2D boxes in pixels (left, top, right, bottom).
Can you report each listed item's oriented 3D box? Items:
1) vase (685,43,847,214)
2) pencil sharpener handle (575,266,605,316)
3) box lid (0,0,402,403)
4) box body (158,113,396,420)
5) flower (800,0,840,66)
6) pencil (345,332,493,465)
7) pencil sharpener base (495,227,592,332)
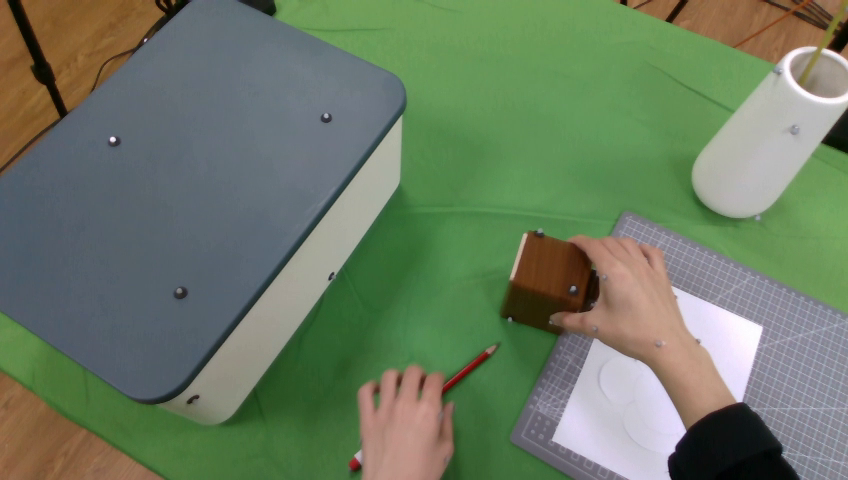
[{"bbox_3d":[0.353,-0.110,0.638,0.098,0.201,0.097,0,62,0],"label":"vase"},{"bbox_3d":[0.167,0.054,0.590,0.030,0.068,0.036,17,62,8],"label":"pencil sharpener handle"},{"bbox_3d":[-0.213,-0.070,0.545,0.262,0.015,0.370,28,66,12],"label":"box lid"},{"bbox_3d":[-0.214,-0.033,0.611,0.253,0.161,0.362,27,66,12],"label":"box body"},{"bbox_3d":[0.354,-0.161,0.570,0.044,0.365,0.038,20,47,13],"label":"flower"},{"bbox_3d":[-0.001,0.154,0.605,0.194,0.012,0.012,-39,69,-14],"label":"pencil"},{"bbox_3d":[0.119,0.043,0.608,0.076,0.108,0.061,17,66,7],"label":"pencil sharpener base"}]
